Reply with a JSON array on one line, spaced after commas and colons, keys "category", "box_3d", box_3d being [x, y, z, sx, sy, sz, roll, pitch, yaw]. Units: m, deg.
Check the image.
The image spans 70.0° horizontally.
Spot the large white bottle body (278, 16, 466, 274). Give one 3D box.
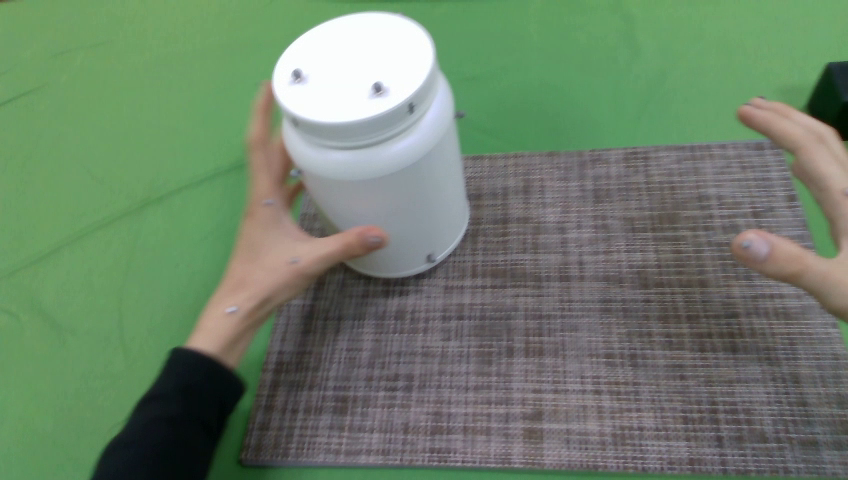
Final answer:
[{"category": "large white bottle body", "box_3d": [-0.038, -0.071, 0.491, 0.130, 0.186, 0.129, -5, 55, 7]}]

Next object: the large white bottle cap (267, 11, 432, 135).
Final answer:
[{"category": "large white bottle cap", "box_3d": [-0.052, -0.119, 0.422, 0.115, 0.018, 0.113, -4, 55, 7]}]
